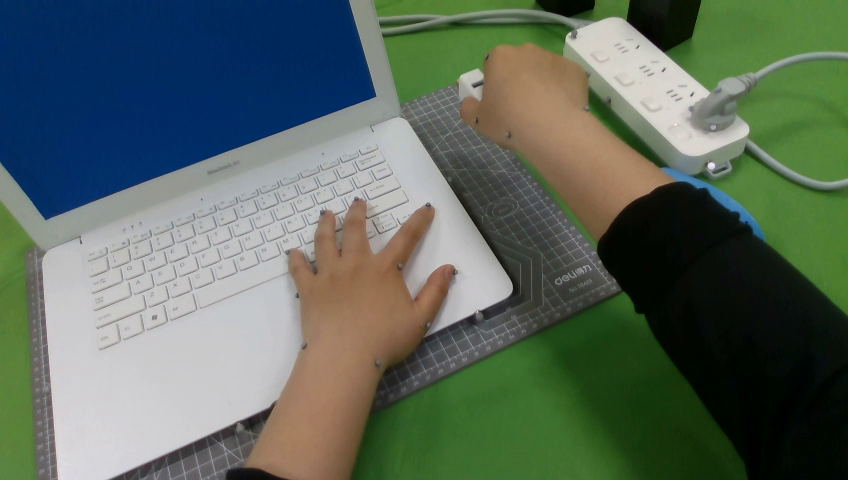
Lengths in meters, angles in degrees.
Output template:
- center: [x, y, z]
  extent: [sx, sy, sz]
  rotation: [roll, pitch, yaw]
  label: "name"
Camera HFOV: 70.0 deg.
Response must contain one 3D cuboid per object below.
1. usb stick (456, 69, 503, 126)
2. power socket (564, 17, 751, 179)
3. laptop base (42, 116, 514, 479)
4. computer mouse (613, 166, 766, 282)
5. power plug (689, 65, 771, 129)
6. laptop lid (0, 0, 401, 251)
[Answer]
- center: [0.046, -0.130, 0.534]
  extent: [0.021, 0.027, 0.058]
  rotation: [-23, 56, -12]
  label: "usb stick"
- center: [0.216, -0.144, 0.582]
  extent: [0.072, 0.033, 0.224]
  rotation: [-23, 53, -8]
  label: "power socket"
- center: [-0.132, 0.029, 0.509]
  extent: [0.354, 0.023, 0.233]
  rotation: [-23, 57, -10]
  label: "laptop base"
- center: [0.210, -0.020, 0.485]
  extent: [0.063, 0.041, 0.116]
  rotation: [-28, 49, -12]
  label: "computer mouse"
- center: [0.269, -0.116, 0.528]
  extent: [0.072, 0.053, 0.035]
  rotation: [-14, 55, -4]
  label: "power plug"
- center: [-0.204, -0.141, 0.500]
  extent: [0.357, 0.244, 0.013]
  rotation: [-24, 41, -9]
  label: "laptop lid"
